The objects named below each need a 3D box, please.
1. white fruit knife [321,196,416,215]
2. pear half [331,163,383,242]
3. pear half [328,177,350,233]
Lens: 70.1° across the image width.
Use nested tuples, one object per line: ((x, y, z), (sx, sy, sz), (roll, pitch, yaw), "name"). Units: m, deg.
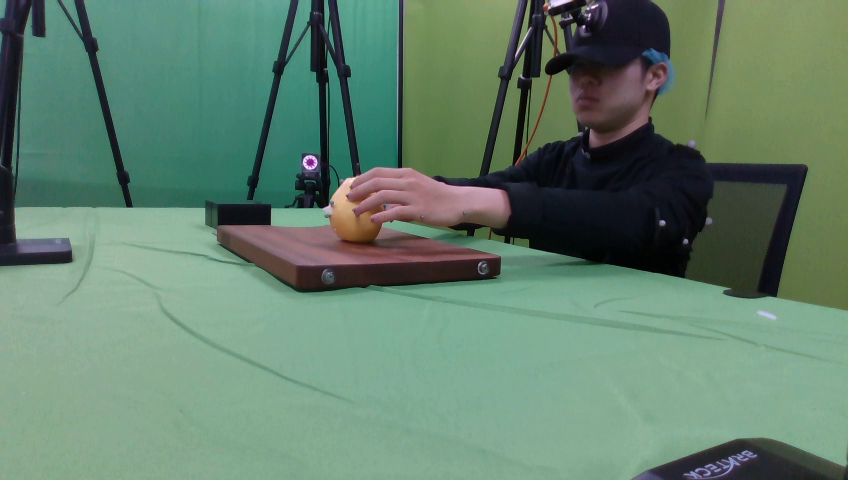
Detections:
((-0.077, -0.049, 0.893), (0.016, 0.027, 0.208), (9, 10, 35), "white fruit knife")
((-0.086, -0.052, 0.840), (0.055, 0.110, 0.077), (7, 14, 33), "pear half")
((-0.116, -0.046, 0.863), (0.031, 0.088, 0.071), (3, 10, 31), "pear half")
